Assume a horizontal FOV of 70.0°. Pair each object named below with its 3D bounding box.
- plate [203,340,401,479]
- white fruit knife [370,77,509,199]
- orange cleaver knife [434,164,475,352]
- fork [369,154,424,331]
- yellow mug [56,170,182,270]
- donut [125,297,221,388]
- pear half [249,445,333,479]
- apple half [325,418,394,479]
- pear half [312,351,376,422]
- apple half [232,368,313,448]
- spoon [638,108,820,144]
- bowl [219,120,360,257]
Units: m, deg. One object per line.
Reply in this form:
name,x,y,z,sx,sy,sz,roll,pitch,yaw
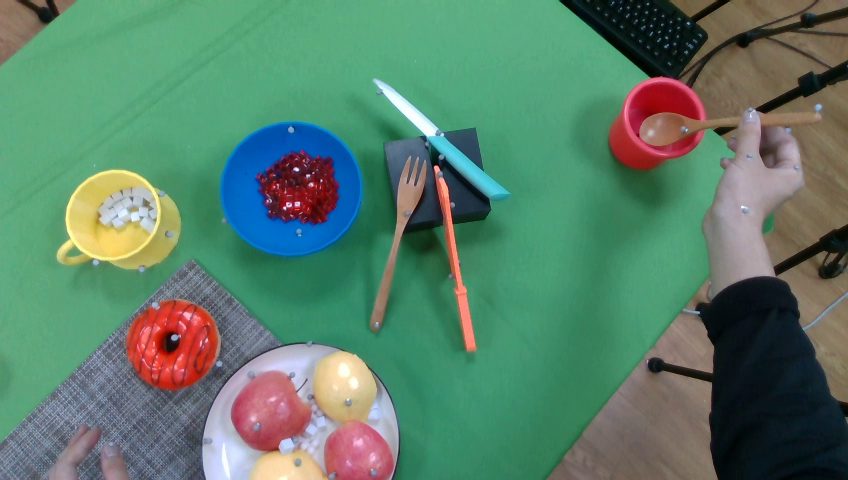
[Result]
plate,-0.128,0.213,0.654,0.209,0.038,0.208,1,80,-4
white fruit knife,0.014,-0.117,0.689,0.207,0.016,0.027,43,51,6
orange cleaver knife,0.033,0.021,0.680,0.012,0.077,0.212,-11,105,-1
fork,-0.034,0.006,0.677,0.028,0.018,0.207,13,99,-9
yellow mug,-0.343,-0.012,0.670,0.131,0.064,0.099,-36,83,-8
donut,-0.272,0.111,0.659,0.099,0.048,0.098,0,82,-2
pear half,-0.128,0.260,0.631,0.110,0.056,0.076,16,84,-4
apple half,-0.076,0.231,0.637,0.081,0.033,0.081,1,94,14
pear half,-0.089,0.165,0.651,0.070,0.031,0.088,-18,90,16
apple half,-0.163,0.180,0.639,0.074,0.053,0.080,-29,86,-8
spoon,0.314,-0.125,0.644,0.022,0.192,0.041,21,84,-32
bowl,-0.145,-0.050,0.684,0.151,0.077,0.151,1,80,-4
